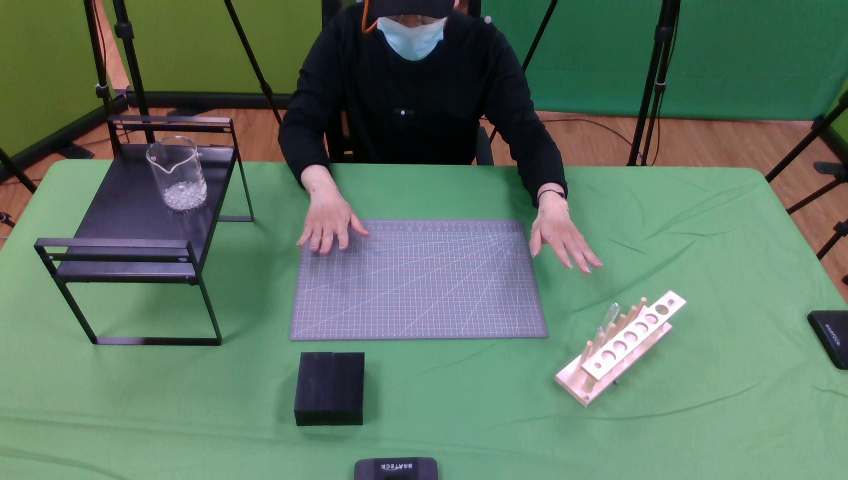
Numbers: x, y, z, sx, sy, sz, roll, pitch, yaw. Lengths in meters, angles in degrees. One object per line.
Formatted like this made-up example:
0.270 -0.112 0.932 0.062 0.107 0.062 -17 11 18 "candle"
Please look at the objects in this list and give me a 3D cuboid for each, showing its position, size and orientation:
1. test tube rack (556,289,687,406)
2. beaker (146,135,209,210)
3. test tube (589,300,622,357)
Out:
0.332 0.165 1.014 0.242 0.085 0.066 -31 55 -28 "test tube rack"
-0.387 -0.102 0.961 0.074 0.101 0.083 -5 48 -8 "beaker"
0.288 0.144 0.970 0.017 0.151 0.017 2 49 -2 "test tube"
